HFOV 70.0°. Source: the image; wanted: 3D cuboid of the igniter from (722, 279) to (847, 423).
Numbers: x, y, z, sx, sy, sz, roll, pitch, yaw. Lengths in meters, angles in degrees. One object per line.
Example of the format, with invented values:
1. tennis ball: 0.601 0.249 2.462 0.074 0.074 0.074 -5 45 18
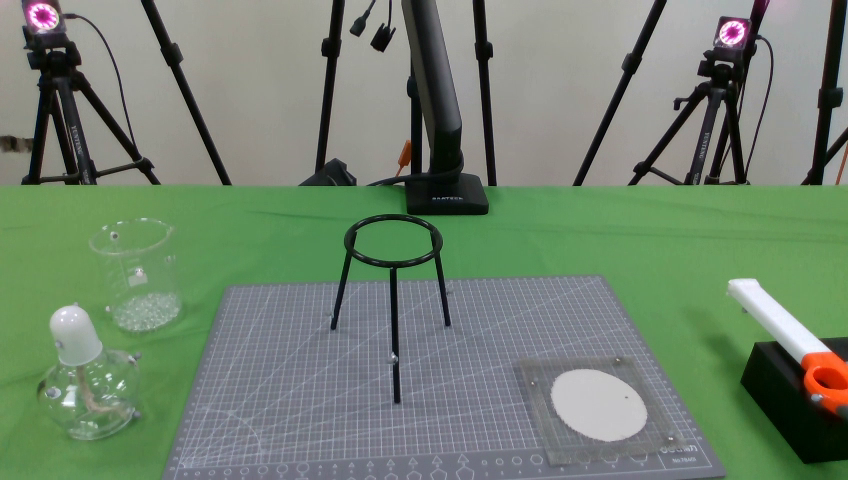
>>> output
1. igniter: 0.343 0.111 0.524 0.057 0.025 0.274 -2 28 -4

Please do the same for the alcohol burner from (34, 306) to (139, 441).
1. alcohol burner: -0.278 0.104 0.496 0.078 0.120 0.077 3 28 -1

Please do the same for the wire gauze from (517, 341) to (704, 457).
1. wire gauze: 0.165 0.138 0.540 0.125 0.011 0.120 -7 28 -27

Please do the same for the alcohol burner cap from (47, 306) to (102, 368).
1. alcohol burner cap: -0.278 0.074 0.478 0.034 0.048 0.033 3 35 -2

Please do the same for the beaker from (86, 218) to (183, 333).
1. beaker: -0.291 0.037 0.625 0.073 0.101 0.084 28 38 36

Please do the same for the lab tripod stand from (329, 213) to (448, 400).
1. lab tripod stand: -0.030 0.054 0.575 0.148 0.132 0.147 3 31 -2
